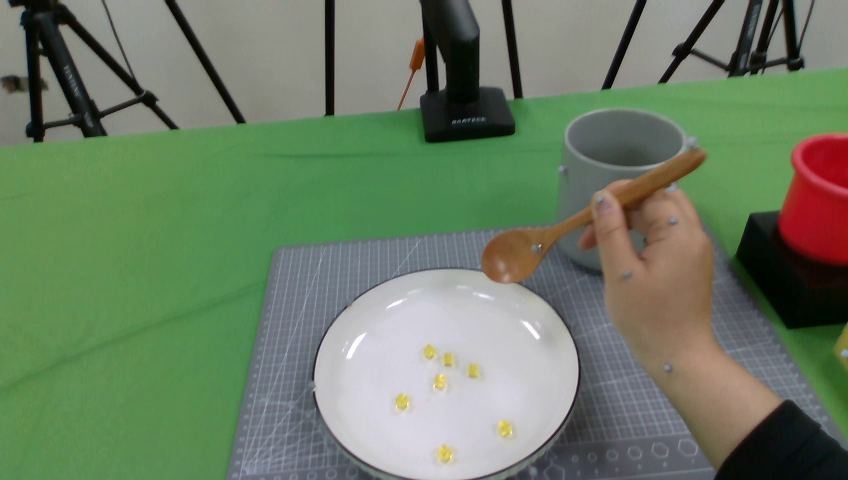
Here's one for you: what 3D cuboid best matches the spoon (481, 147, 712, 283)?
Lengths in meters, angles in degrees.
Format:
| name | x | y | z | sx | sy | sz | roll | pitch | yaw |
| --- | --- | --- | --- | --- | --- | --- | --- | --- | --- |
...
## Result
| name | x | y | z | sx | sy | sz | roll | pitch | yaw |
| --- | --- | --- | --- | --- | --- | --- | --- | --- | --- |
| spoon | 0.108 | -0.013 | 0.419 | 0.022 | 0.193 | 0.041 | -10 | 76 | -39 |

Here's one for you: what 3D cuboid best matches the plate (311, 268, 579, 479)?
| name | x | y | z | sx | sy | sz | roll | pitch | yaw |
| --- | --- | --- | --- | --- | --- | --- | --- | --- | --- |
| plate | 0.016 | 0.105 | 0.485 | 0.207 | 0.039 | 0.205 | -2 | 40 | 2 |

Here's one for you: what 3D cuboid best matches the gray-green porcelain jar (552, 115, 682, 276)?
| name | x | y | z | sx | sy | sz | roll | pitch | yaw |
| --- | --- | --- | --- | --- | --- | --- | --- | --- | --- |
| gray-green porcelain jar | 0.177 | -0.038 | 0.573 | 0.106 | 0.127 | 0.105 | -3 | 40 | 3 |

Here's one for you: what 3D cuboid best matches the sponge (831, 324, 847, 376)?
| name | x | y | z | sx | sy | sz | roll | pitch | yaw |
| --- | --- | --- | --- | --- | --- | --- | --- | --- | --- |
| sponge | 0.405 | 0.128 | 0.409 | 0.118 | 0.061 | 0.204 | -8 | 39 | -4 |
